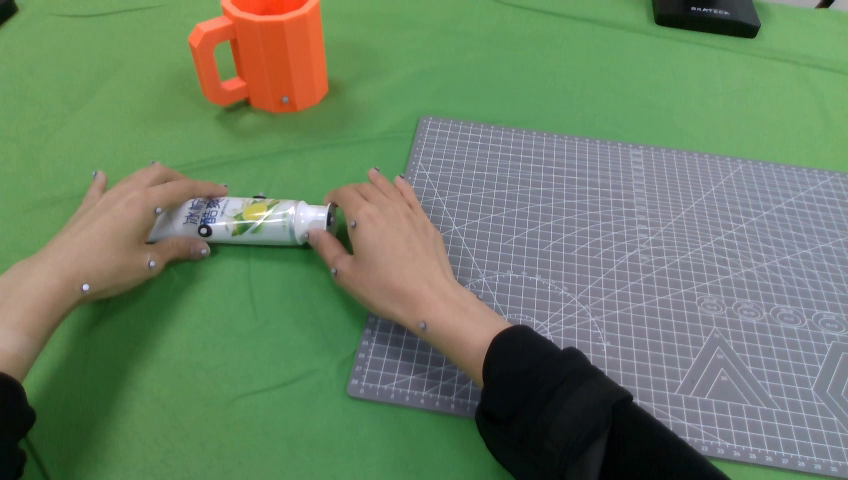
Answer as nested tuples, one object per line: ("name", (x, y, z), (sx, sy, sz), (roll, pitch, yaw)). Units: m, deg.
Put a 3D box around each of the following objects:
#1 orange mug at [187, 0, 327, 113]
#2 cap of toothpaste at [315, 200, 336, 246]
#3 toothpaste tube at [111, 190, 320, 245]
("orange mug", (-0.152, -0.177, 0.560), (0.126, 0.101, 0.082), (-29, 57, -30))
("cap of toothpaste", (-0.076, -0.013, 0.467), (0.011, 0.038, 0.037), (2, 49, 3))
("toothpaste tube", (-0.155, -0.018, 0.472), (0.165, 0.035, 0.054), (2, 47, 2))
